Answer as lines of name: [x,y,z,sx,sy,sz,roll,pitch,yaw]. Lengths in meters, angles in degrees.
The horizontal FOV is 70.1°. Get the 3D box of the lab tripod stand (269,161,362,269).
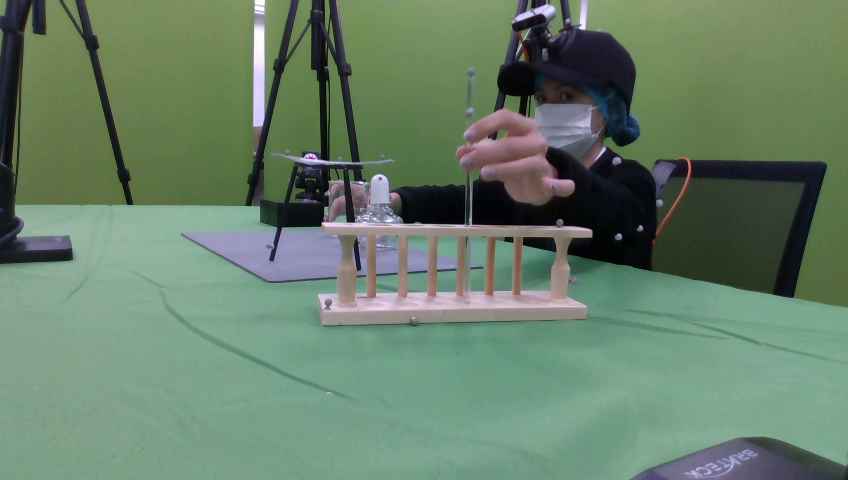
lab tripod stand: [-0.125,-0.036,0.794,0.148,0.131,0.148,5,7,0]

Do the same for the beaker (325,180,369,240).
beaker: [-0.133,-0.052,1.058,0.074,0.100,0.083,-3,10,-36]

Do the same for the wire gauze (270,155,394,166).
wire gauze: [-0.122,-0.102,0.785,0.122,0.011,0.124,-3,10,-39]

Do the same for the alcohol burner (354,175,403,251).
alcohol burner: [-0.072,-0.042,0.944,0.078,0.119,0.078,1,9,0]

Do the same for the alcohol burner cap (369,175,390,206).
alcohol burner cap: [-0.069,-0.077,0.939,0.034,0.048,0.034,-1,6,0]

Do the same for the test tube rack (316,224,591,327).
test tube rack: [0.026,0.028,0.555,0.243,0.085,0.066,1,7,-14]

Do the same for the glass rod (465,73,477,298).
glass rod: [0.041,-0.042,0.527,0.008,0.199,0.008,0,17,0]
